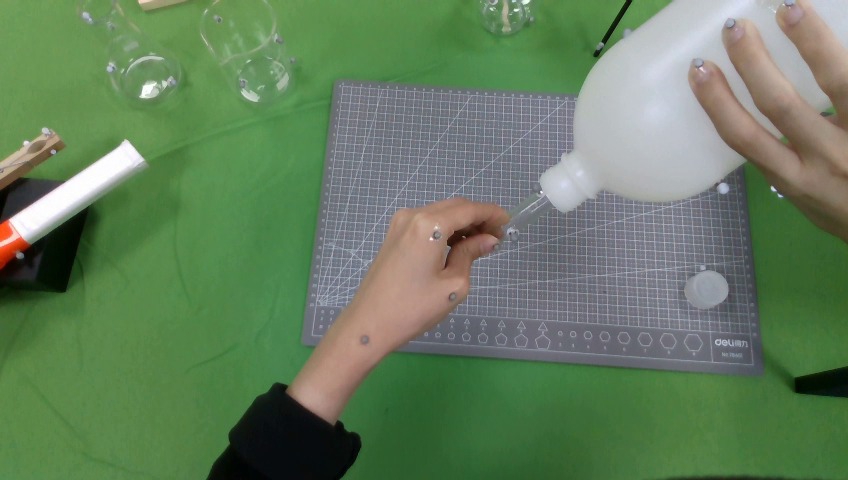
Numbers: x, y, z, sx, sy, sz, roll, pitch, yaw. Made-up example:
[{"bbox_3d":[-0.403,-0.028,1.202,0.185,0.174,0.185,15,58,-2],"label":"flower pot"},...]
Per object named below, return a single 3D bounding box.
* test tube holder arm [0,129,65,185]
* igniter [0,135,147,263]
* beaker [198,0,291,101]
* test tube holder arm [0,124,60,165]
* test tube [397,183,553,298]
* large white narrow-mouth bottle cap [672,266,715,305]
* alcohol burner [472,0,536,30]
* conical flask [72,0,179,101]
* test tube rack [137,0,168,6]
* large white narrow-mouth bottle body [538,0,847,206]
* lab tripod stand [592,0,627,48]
[{"bbox_3d":[-0.389,-0.075,0.583,0.088,0.015,0.010,-39,77,-13],"label":"test tube holder arm"},{"bbox_3d":[-0.384,-0.006,0.557,0.276,0.025,0.057,-40,79,-16],"label":"igniter"},{"bbox_3d":[-0.183,-0.197,0.632,0.074,0.101,0.083,18,73,6],"label":"beaker"},{"bbox_3d":[-0.426,-0.051,0.573,0.178,0.015,0.013,-40,78,-13],"label":"test tube holder arm"},{"bbox_3d":[0.033,0.004,0.430,0.150,0.017,0.017,-37,70,32],"label":"test tube"},{"bbox_3d":[0.269,0.046,0.602,0.038,0.024,0.037,0,74,0],"label":"large white narrow-mouth bottle cap"},{"bbox_3d":[0.090,-0.287,0.658,0.078,0.120,0.077,1,70,-2],"label":"alcohol burner"},{"bbox_3d":[-0.309,-0.204,0.620,0.075,0.122,0.075,0,72,0],"label":"conical flask"},{"bbox_3d":[-0.223,-0.348,0.686,0.242,0.085,0.066,-17,73,-6],"label":"test tube rack"},{"bbox_3d":[0.150,-0.084,0.342,0.195,0.102,0.101,-37,72,25],"label":"large white narrow-mouth bottle body"},{"bbox_3d":[0.259,-0.274,0.646,0.148,0.132,0.147,1,71,-2],"label":"lab tripod stand"}]
